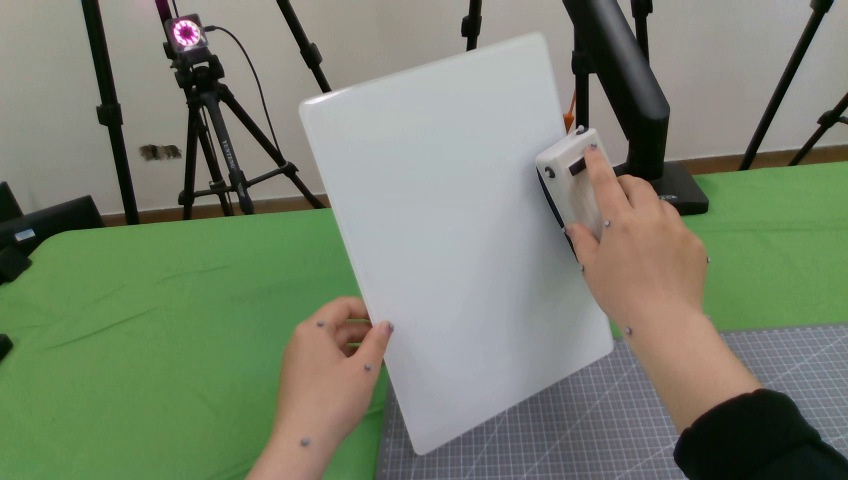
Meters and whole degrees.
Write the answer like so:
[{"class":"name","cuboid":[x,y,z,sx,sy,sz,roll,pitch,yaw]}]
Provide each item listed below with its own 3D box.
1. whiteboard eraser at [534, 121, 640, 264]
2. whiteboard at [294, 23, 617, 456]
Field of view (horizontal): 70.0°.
[{"class":"whiteboard eraser","cuboid":[0.137,-0.039,0.512,0.055,0.113,0.041,-33,19,-13]},{"class":"whiteboard","cuboid":[0.020,-0.009,0.559,0.217,0.307,0.143,-23,16,-19]}]
